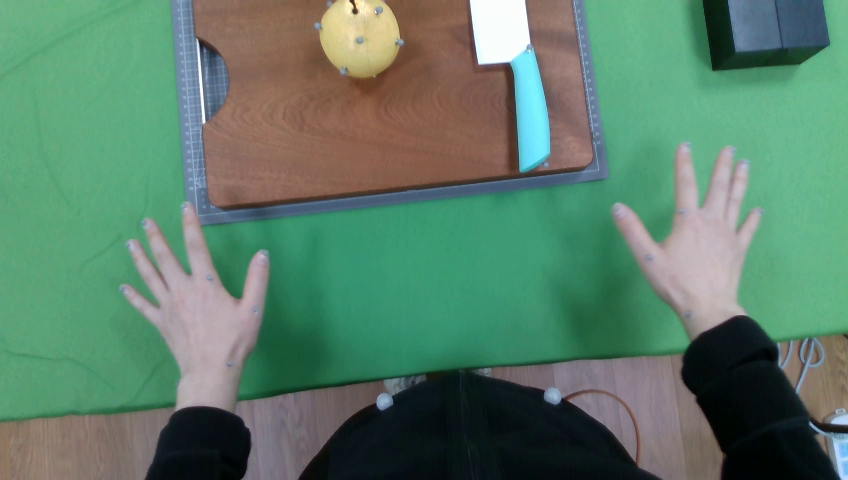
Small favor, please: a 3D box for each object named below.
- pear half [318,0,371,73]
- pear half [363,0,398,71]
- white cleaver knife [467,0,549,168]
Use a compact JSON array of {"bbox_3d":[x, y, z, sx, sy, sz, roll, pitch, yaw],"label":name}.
[{"bbox_3d":[-0.076,-0.206,0.581,0.056,0.110,0.076,-4,79,-1],"label":"pear half"},{"bbox_3d":[-0.041,-0.205,0.592,0.031,0.088,0.070,-3,79,-2],"label":"pear half"},{"bbox_3d":[0.083,-0.212,0.634,0.066,0.021,0.285,-7,79,3],"label":"white cleaver knife"}]
